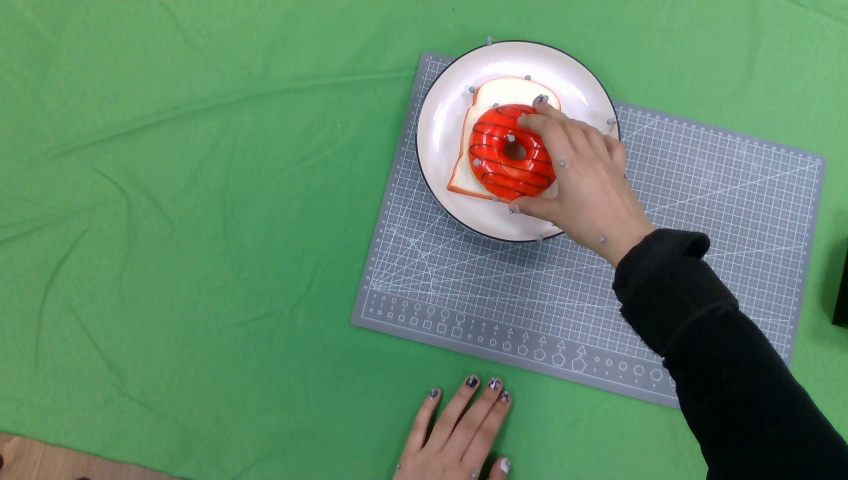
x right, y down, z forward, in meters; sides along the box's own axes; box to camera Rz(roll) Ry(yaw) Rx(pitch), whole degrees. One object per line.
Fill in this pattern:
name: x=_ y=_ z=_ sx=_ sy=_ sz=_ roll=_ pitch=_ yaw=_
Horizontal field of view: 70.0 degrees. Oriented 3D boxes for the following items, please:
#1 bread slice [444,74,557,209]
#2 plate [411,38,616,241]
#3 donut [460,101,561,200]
bread slice: x=0.084 y=-0.106 z=0.623 sx=0.105 sy=0.019 sz=0.131 roll=11 pitch=83 yaw=-2
plate: x=0.090 y=-0.101 z=0.622 sx=0.209 sy=0.038 sz=0.208 roll=0 pitch=84 yaw=-3
donut: x=0.085 y=-0.088 z=0.593 sx=0.099 sy=0.048 sz=0.099 roll=0 pitch=84 yaw=-2
